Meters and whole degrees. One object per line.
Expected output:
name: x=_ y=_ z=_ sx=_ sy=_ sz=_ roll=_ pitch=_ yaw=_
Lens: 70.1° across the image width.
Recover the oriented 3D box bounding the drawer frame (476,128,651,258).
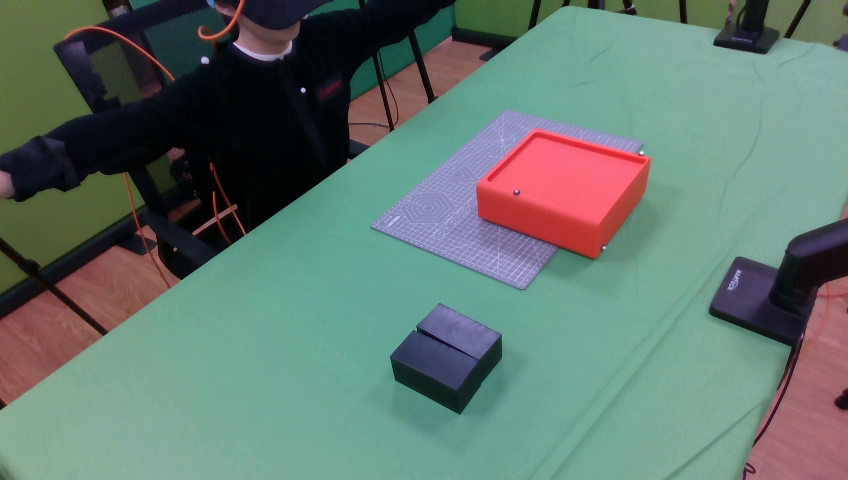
drawer frame: x=0.229 y=-0.086 z=0.992 sx=0.212 sy=0.083 sz=0.202 roll=22 pitch=48 yaw=29

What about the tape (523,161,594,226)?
tape: x=0.221 y=-0.078 z=0.995 sx=0.117 sy=0.053 sz=0.116 roll=-4 pitch=40 yaw=4

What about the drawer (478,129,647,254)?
drawer: x=0.227 y=-0.085 z=0.994 sx=0.210 sy=0.073 sz=0.195 roll=23 pitch=48 yaw=30
